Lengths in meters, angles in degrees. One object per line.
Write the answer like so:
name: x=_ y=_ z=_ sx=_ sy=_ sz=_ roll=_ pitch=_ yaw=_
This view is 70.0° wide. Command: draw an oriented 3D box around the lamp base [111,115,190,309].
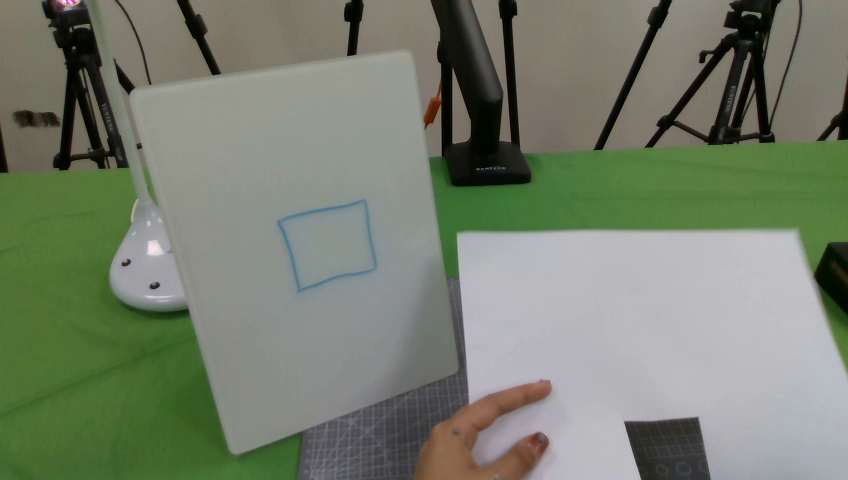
lamp base: x=-0.292 y=-0.041 z=0.676 sx=0.178 sy=0.182 sz=0.160 roll=21 pitch=40 yaw=32

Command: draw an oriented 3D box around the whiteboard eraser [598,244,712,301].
whiteboard eraser: x=0.259 y=0.038 z=0.681 sx=0.113 sy=0.042 sz=0.055 roll=-8 pitch=37 yaw=-11

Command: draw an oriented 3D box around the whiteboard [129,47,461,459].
whiteboard: x=-0.110 y=-0.001 z=0.560 sx=0.218 sy=0.307 sz=0.142 roll=-15 pitch=18 yaw=-20

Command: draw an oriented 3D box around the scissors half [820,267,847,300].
scissors half: x=0.267 y=0.083 z=0.310 sx=0.040 sy=0.013 sz=0.174 roll=-5 pitch=56 yaw=-49

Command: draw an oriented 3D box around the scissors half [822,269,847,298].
scissors half: x=0.279 y=0.080 z=0.328 sx=0.175 sy=0.013 sz=0.040 roll=46 pitch=28 yaw=2
